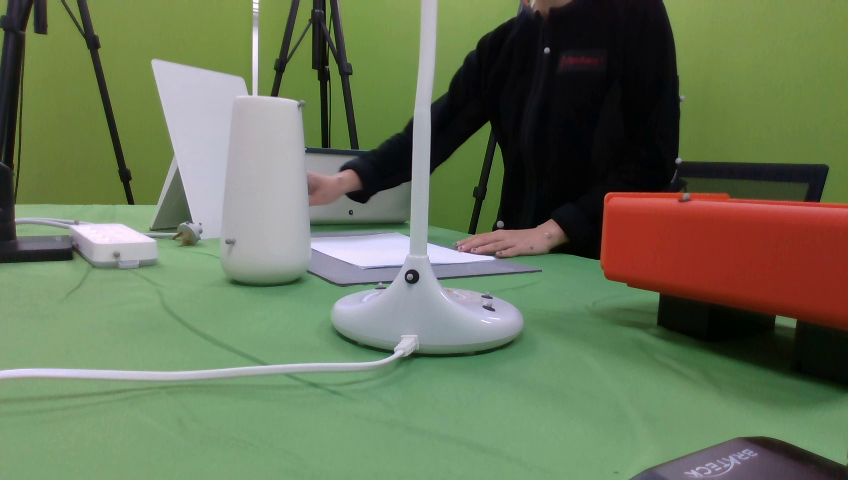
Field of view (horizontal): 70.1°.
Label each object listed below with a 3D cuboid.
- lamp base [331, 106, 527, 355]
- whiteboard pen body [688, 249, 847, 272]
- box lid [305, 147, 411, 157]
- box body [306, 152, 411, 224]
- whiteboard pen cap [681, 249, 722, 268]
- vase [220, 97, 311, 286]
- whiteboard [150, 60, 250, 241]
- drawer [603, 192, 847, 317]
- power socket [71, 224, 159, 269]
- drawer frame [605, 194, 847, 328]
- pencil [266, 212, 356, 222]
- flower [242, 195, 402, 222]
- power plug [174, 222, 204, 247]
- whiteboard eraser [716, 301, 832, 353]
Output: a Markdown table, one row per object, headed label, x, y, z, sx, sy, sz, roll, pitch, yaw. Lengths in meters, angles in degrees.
| label | x | y | z | sx | sy | sz | roll | pitch | yaw |
| --- | --- | --- | --- | --- | --- | --- | --- | --- | --- |
| lamp base | 0.006 | -0.012 | 0.478 | 0.161 | 0.180 | 0.179 | 2 | 10 | 2 |
| whiteboard pen body | 0.304 | 0.017 | 0.521 | 0.140 | 0.017 | 0.017 | 2 | 7 | 27 |
| box lid | -0.229 | -0.200 | 1.361 | 0.373 | 0.015 | 0.262 | -2 | 9 | -33 |
| box body | -0.230 | -0.126 | 1.371 | 0.366 | 0.160 | 0.253 | -2 | 9 | -33 |
| whiteboard pen cap | 0.250 | 0.017 | 0.544 | 0.033 | 0.018 | 0.018 | 2 | 7 | 25 |
| vase | -0.172 | -0.052 | 0.662 | 0.098 | 0.200 | 0.098 | 3 | 8 | 0 |
| whiteboard | -0.408 | -0.139 | 1.093 | 0.143 | 0.305 | 0.218 | -15 | -1 | 26 |
| drawer | 0.293 | 0.002 | 0.500 | 0.195 | 0.073 | 0.210 | -1 | 8 | -34 |
| power socket | -0.409 | 0.004 | 0.792 | 0.072 | 0.032 | 0.225 | -2 | 8 | -37 |
| drawer frame | 0.298 | 0.007 | 0.497 | 0.203 | 0.082 | 0.212 | -1 | 7 | -34 |
| pencil | -0.244 | -0.049 | 1.319 | 0.195 | 0.012 | 0.012 | 4 | 7 | -12 |
| flower | -0.231 | -0.064 | 1.373 | 0.362 | 0.038 | 0.044 | 6 | 40 | -2 |
| power plug | -0.360 | 0.000 | 0.917 | 0.072 | 0.035 | 0.053 | -42 | 4 | 39 |
| whiteboard eraser | 0.256 | 0.042 | 0.472 | 0.112 | 0.042 | 0.056 | 43 | 20 | 31 |
